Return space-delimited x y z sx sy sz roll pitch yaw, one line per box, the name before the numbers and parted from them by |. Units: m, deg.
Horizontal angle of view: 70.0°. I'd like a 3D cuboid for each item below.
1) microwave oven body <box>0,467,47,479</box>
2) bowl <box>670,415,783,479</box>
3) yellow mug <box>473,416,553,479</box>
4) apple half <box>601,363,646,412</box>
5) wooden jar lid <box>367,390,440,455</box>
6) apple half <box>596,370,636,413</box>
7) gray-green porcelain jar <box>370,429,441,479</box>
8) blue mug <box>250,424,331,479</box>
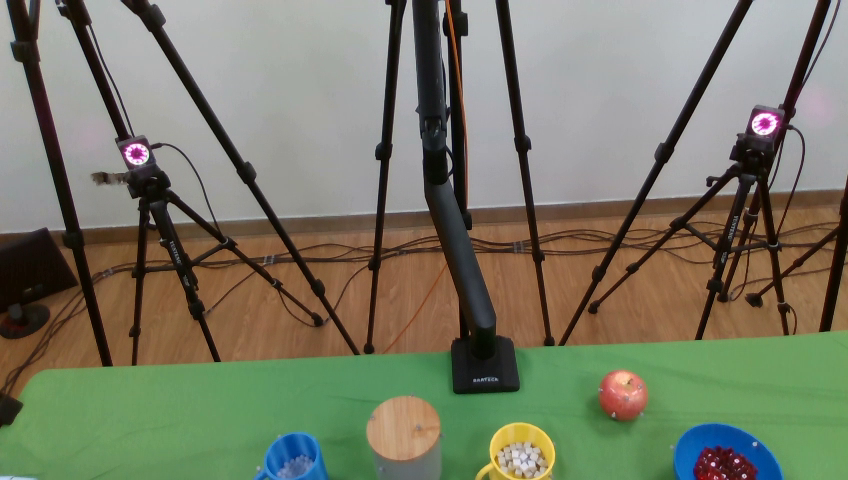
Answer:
microwave oven body | -0.617 0.510 0.648 0.326 0.262 0.437 -2 41 2
bowl | 0.439 0.347 0.902 0.151 0.077 0.150 -2 41 2
yellow mug | 0.135 0.340 0.943 0.131 0.064 0.099 -19 43 -16
apple half | 0.344 0.247 1.029 0.053 0.075 0.080 -21 40 -26
wooden jar lid | -0.030 0.271 0.894 0.108 0.021 0.107 -3 39 2
apple half | 0.312 0.262 1.012 0.033 0.082 0.080 -22 44 -27
gray-green porcelain jar | -0.027 0.319 0.935 0.106 0.127 0.105 -2 41 2
blue mug | -0.206 0.353 0.924 0.117 0.107 0.081 -20 43 -18
